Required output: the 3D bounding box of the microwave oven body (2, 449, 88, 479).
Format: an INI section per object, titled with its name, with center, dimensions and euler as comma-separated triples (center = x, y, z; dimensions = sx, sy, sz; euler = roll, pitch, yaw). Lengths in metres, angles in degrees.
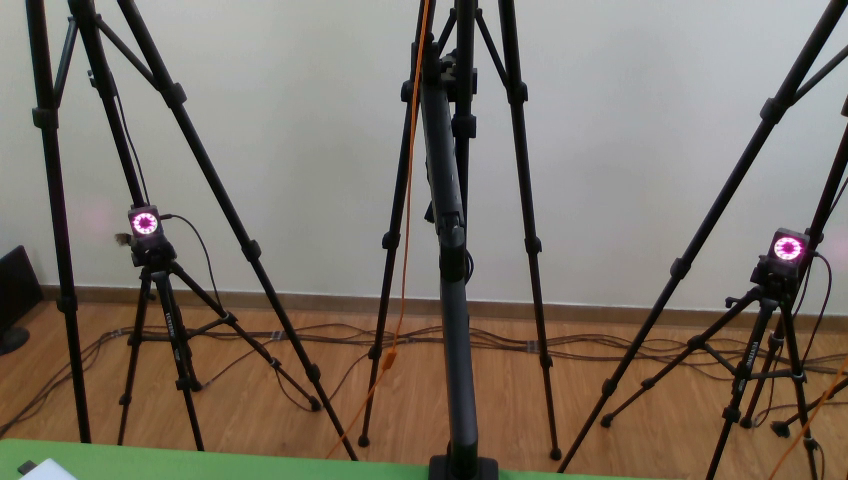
[microwave oven body]
center = -0.485, 0.509, 0.639
dimensions = 0.323, 0.262, 0.441
euler = 19, 38, 27
